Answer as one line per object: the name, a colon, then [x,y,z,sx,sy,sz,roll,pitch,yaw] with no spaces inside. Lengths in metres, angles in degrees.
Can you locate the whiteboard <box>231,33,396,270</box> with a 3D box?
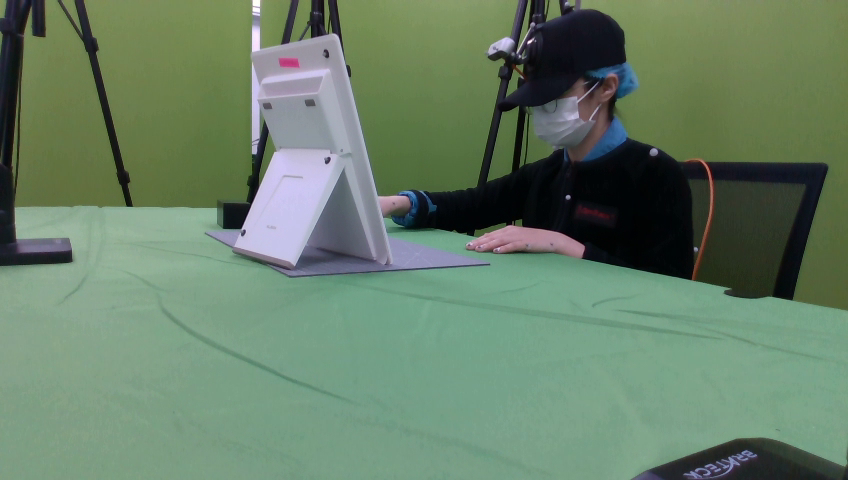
whiteboard: [-0.193,-0.094,0.805,0.144,0.305,0.216,-29,25,-35]

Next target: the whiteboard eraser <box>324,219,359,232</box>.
whiteboard eraser: [-0.162,-0.030,1.195,0.041,0.019,0.101,5,9,20]
